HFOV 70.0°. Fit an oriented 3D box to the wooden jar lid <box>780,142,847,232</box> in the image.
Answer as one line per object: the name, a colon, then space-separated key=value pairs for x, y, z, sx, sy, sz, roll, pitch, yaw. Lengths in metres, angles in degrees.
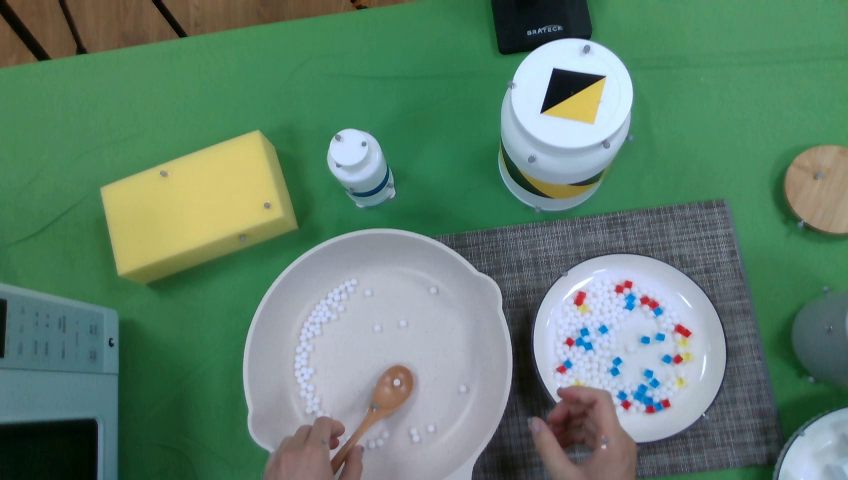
wooden jar lid: x=0.470 y=-0.060 z=0.704 sx=0.108 sy=0.021 sz=0.108 roll=-1 pitch=79 yaw=5

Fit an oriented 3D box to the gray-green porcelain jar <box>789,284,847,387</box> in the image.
gray-green porcelain jar: x=0.447 y=0.096 z=0.616 sx=0.106 sy=0.127 sz=0.105 roll=-1 pitch=77 yaw=5

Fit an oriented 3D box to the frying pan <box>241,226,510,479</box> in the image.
frying pan: x=-0.002 y=0.215 z=0.639 sx=0.307 sy=0.103 sz=0.484 roll=-30 pitch=68 yaw=-1

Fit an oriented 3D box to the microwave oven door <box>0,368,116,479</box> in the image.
microwave oven door: x=-0.374 y=0.301 z=0.567 sx=0.039 sy=0.245 sz=0.354 roll=-7 pitch=76 yaw=4

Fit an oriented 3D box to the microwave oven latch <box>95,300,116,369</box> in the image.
microwave oven latch: x=-0.383 y=0.111 z=0.714 sx=0.030 sy=0.029 sz=0.079 roll=-4 pitch=78 yaw=4

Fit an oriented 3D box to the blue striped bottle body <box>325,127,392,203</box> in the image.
blue striped bottle body: x=-0.077 y=-0.089 z=0.708 sx=0.063 sy=0.121 sz=0.063 roll=-1 pitch=77 yaw=5

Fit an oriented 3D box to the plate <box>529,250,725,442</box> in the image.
plate: x=0.221 y=0.115 z=0.674 sx=0.209 sy=0.038 sz=0.208 roll=-1 pitch=78 yaw=6

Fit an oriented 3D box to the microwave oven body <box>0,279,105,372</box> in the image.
microwave oven body: x=-0.521 y=0.278 z=0.591 sx=0.326 sy=0.261 sz=0.439 roll=-7 pitch=77 yaw=3

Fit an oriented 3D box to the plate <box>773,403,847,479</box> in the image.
plate: x=0.463 y=0.271 z=0.621 sx=0.207 sy=0.039 sz=0.206 roll=-1 pitch=77 yaw=5

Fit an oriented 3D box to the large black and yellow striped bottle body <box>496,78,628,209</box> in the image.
large black and yellow striped bottle body: x=0.146 y=-0.120 z=0.663 sx=0.130 sy=0.185 sz=0.130 roll=-1 pitch=76 yaw=5

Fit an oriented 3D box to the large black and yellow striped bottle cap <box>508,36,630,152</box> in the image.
large black and yellow striped bottle cap: x=0.139 y=-0.141 z=0.581 sx=0.115 sy=0.019 sz=0.114 roll=-1 pitch=79 yaw=5

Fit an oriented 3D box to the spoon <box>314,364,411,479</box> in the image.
spoon: x=-0.077 y=0.212 z=0.652 sx=0.041 sy=0.022 sz=0.193 roll=37 pitch=56 yaw=7

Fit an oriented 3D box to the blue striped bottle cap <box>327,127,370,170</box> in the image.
blue striped bottle cap: x=-0.082 y=-0.100 z=0.658 sx=0.044 sy=0.021 sz=0.044 roll=-2 pitch=75 yaw=7

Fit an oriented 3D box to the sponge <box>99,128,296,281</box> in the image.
sponge: x=-0.277 y=-0.042 z=0.746 sx=0.207 sy=0.061 sz=0.117 roll=-21 pitch=76 yaw=0
